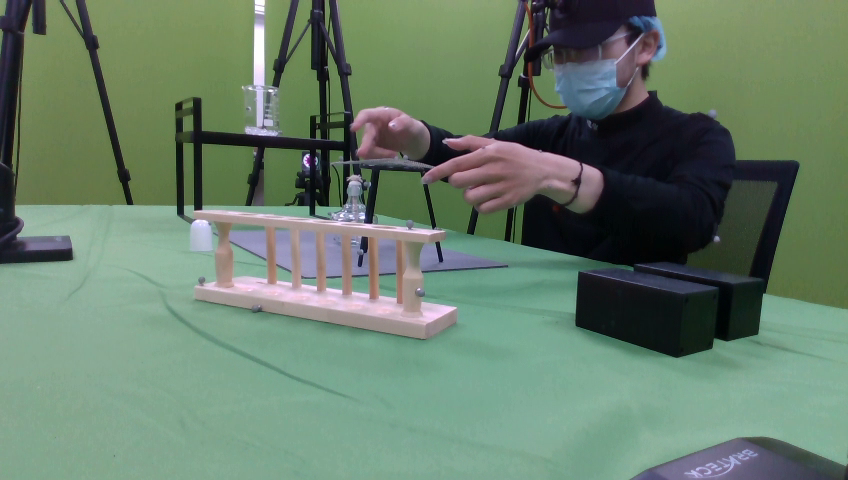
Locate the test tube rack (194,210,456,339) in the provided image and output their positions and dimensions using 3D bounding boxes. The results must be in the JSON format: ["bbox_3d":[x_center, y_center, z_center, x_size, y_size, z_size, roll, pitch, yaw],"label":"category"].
[{"bbox_3d":[-0.093,0.023,0.545,0.241,0.085,0.067,6,8,25],"label":"test tube rack"}]

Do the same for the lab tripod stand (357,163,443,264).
[{"bbox_3d":[-0.044,-0.038,0.830,0.148,0.131,0.148,4,6,0],"label":"lab tripod stand"}]

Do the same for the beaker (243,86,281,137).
[{"bbox_3d":[-0.338,-0.265,1.252,0.073,0.100,0.084,8,9,38],"label":"beaker"}]

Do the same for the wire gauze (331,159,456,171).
[{"bbox_3d":[-0.042,-0.104,0.819,0.126,0.011,0.121,-3,9,-44],"label":"wire gauze"}]

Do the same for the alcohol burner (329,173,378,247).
[{"bbox_3d":[-0.113,-0.049,0.972,0.078,0.119,0.078,1,9,0],"label":"alcohol burner"}]

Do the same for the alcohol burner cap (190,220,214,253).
[{"bbox_3d":[-0.321,-0.006,0.875,0.034,0.048,0.034,4,8,0],"label":"alcohol burner cap"}]
